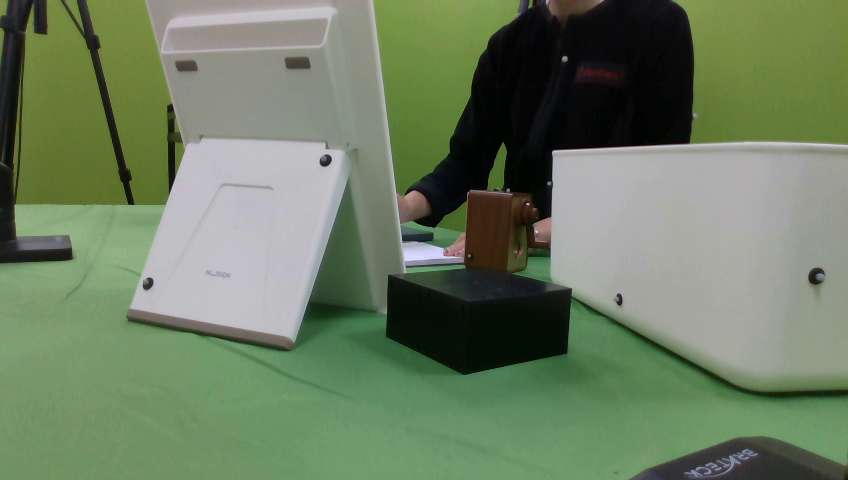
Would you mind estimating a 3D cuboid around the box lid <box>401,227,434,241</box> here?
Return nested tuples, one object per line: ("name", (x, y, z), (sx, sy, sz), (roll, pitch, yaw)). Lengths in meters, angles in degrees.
("box lid", (-0.196, -0.015, 1.105), (0.373, 0.015, 0.262), (-1, 7, -32))

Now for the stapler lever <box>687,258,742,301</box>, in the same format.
("stapler lever", (0.283, 0.035, 0.585), (0.026, 0.040, 0.119), (10, 8, 38))

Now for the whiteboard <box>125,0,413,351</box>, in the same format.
("whiteboard", (-0.151, -0.050, 0.471), (0.216, 0.305, 0.144), (6, 27, 24))

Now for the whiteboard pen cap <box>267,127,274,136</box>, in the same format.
("whiteboard pen cap", (-0.340, -0.239, 1.337), (0.018, 0.018, 0.033), (1, -1, -14))

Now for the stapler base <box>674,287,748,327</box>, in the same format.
("stapler base", (0.281, 0.061, 0.586), (0.041, 0.024, 0.131), (10, 8, 38))

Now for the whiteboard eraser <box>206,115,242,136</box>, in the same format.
("whiteboard eraser", (-0.438, -0.249, 1.320), (0.056, 0.042, 0.112), (-3, 9, -30))

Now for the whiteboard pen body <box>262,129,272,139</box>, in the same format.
("whiteboard pen body", (-0.361, -0.245, 1.393), (0.017, 0.017, 0.140), (0, 5, -20))

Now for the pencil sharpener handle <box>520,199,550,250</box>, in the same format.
("pencil sharpener handle", (0.147, -0.019, 0.785), (0.030, 0.068, 0.036), (8, 26, 36))

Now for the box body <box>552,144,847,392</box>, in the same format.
("box body", (0.290, 0.002, 0.549), (0.255, 0.160, 0.363), (2, 7, -10))

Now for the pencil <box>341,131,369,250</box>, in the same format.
("pencil", (-0.105, -0.078, 0.932), (0.012, 0.193, 0.012), (-12, -10, -2))

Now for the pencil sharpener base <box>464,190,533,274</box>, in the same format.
("pencil sharpener base", (0.102, -0.012, 0.812), (0.076, 0.107, 0.061), (8, 9, 36))
